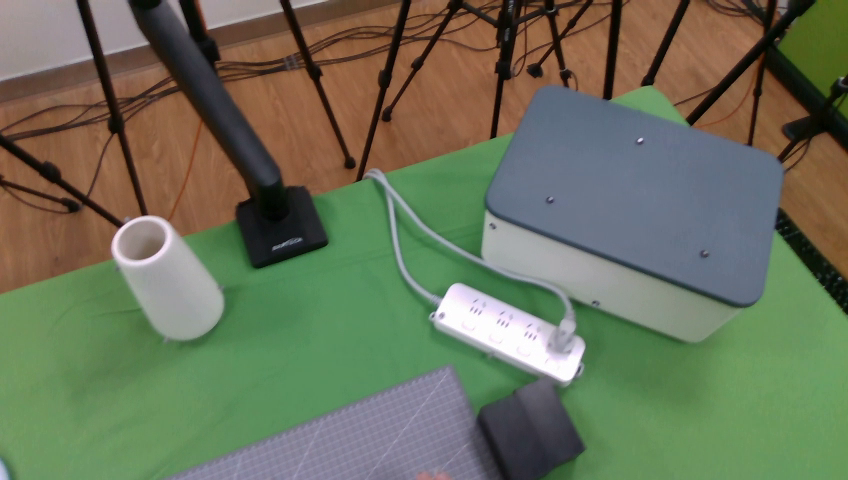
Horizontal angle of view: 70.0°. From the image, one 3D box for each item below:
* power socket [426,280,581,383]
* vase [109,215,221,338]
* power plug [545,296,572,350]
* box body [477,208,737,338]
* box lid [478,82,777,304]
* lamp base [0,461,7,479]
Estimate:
[{"bbox_3d":[0.115,0.128,0.858,0.226,0.033,0.072,24,60,12],"label":"power socket"},{"bbox_3d":[-0.333,0.050,0.789,0.098,0.201,0.097,1,57,-2],"label":"vase"},{"bbox_3d":[0.195,0.121,0.839,0.035,0.053,0.072,31,58,19],"label":"power plug"},{"bbox_3d":[0.280,-0.040,0.891,0.363,0.161,0.253,21,60,10],"label":"box body"},{"bbox_3d":[0.284,-0.078,0.828,0.370,0.015,0.262,21,61,10],"label":"box lid"},{"bbox_3d":[-0.589,0.271,0.654,0.178,0.182,0.160,31,62,18],"label":"lamp base"}]
